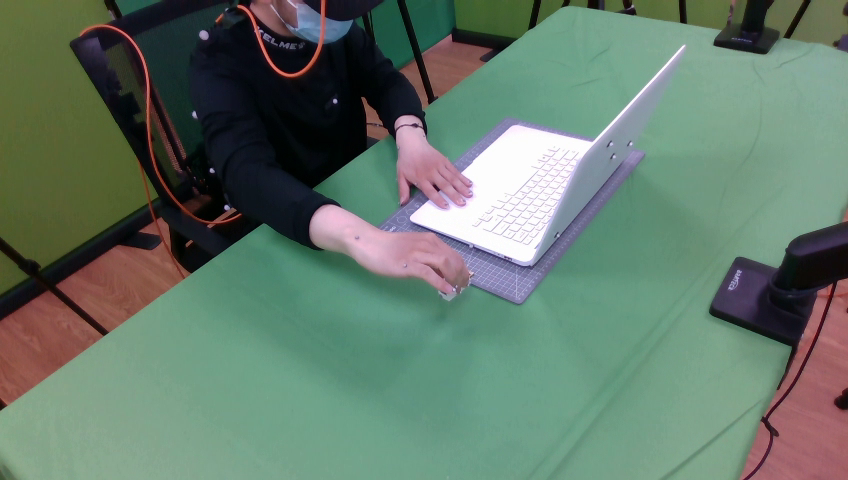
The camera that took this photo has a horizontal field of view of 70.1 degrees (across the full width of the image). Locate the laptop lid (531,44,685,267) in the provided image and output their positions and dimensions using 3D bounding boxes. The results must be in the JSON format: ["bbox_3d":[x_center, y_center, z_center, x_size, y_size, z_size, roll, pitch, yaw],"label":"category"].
[{"bbox_3d":[0.279,-0.129,0.906,0.013,0.242,0.357,34,52,17],"label":"laptop lid"}]

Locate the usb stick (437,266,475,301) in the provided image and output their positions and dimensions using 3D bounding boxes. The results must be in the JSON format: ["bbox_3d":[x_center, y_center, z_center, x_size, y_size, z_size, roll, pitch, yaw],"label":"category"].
[{"bbox_3d":[0.046,0.055,0.820,0.021,0.027,0.059,23,47,41],"label":"usb stick"}]

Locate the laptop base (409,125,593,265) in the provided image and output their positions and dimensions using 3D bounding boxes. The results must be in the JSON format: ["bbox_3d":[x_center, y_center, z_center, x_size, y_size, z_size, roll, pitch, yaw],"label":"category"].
[{"bbox_3d":[0.169,-0.093,1.055,0.233,0.023,0.355,19,47,33],"label":"laptop base"}]
